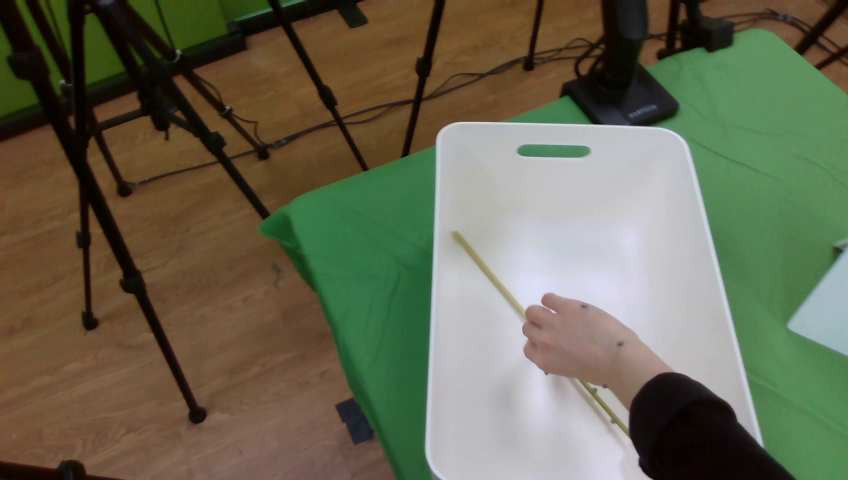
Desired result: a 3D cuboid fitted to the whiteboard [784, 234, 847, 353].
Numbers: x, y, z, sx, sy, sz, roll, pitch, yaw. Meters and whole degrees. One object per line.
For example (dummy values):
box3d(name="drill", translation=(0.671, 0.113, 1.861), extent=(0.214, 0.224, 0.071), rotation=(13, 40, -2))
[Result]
box3d(name="whiteboard", translation=(0.555, -0.009, 0.604), extent=(0.216, 0.308, 0.143), rotation=(26, 42, 16))

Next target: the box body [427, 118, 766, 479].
box3d(name="box body", translation=(0.136, 0.070, 0.599), extent=(0.254, 0.162, 0.360), rotation=(2, 58, 1))

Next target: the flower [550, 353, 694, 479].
box3d(name="flower", translation=(0.135, 0.120, 0.661), extent=(0.044, 0.038, 0.358), rotation=(-46, 56, 0))
